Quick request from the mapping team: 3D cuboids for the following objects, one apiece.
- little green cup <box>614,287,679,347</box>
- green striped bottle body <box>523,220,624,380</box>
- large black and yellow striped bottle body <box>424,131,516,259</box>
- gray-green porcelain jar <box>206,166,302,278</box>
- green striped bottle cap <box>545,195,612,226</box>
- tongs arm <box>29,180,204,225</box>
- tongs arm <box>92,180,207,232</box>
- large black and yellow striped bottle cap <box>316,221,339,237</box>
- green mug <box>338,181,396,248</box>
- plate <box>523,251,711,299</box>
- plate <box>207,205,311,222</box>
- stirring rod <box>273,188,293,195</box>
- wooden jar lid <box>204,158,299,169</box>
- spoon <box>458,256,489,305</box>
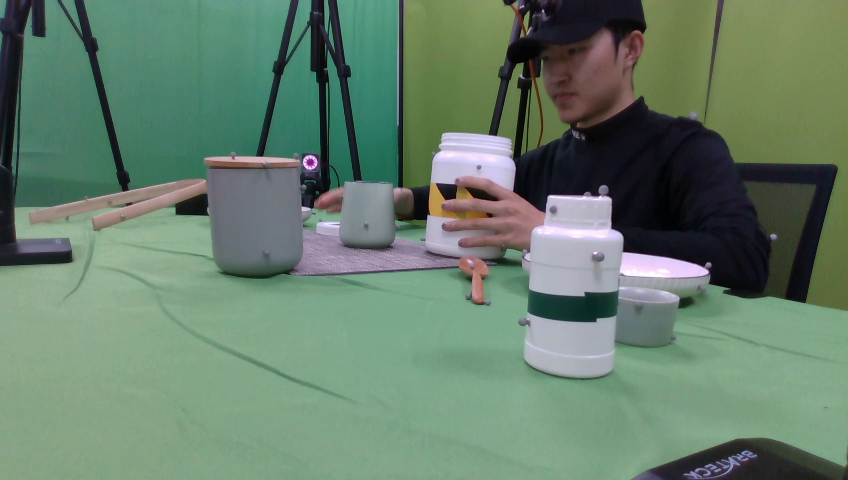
[{"bbox_3d":[0.180,0.064,0.506,0.061,0.038,0.061,1,8,0],"label":"little green cup"},{"bbox_3d":[0.104,0.031,0.422,0.063,0.119,0.063,2,8,0],"label":"green striped bottle body"},{"bbox_3d":[0.073,-0.069,0.931,0.131,0.184,0.130,5,6,0],"label":"large black and yellow striped bottle body"},{"bbox_3d":[-0.201,-0.024,0.725,0.106,0.126,0.106,-1,9,1],"label":"gray-green porcelain jar"},{"bbox_3d":[0.106,-0.020,0.415,0.044,0.020,0.044,2,5,0],"label":"green striped bottle cap"},{"bbox_3d":[-0.609,-0.083,1.245,0.050,0.026,0.386,5,16,23],"label":"tongs arm"},{"bbox_3d":[-0.534,-0.076,1.221,0.028,0.028,0.388,-2,15,12],"label":"tongs arm"},{"bbox_3d":[-0.147,-0.021,1.147,0.115,0.019,0.115,3,8,0],"label":"large black and yellow striped bottle cap"},{"bbox_3d":[-0.098,-0.045,0.995,0.093,0.105,0.125,-1,8,-21],"label":"green mug"},{"bbox_3d":[0.219,0.041,0.706,0.209,0.038,0.209,2,7,0],"label":"plate"},{"bbox_3d":[-0.342,-0.050,1.259,0.208,0.039,0.207,2,7,0],"label":"plate"},{"bbox_3d":[-0.353,-0.122,1.518,0.006,0.014,0.176,2,7,2],"label":"stirring rod"},{"bbox_3d":[-0.202,-0.086,0.714,0.108,0.020,0.108,3,11,0],"label":"wooden jar lid"},{"bbox_3d":[0.059,0.044,0.695,0.041,0.021,0.194,18,7,0],"label":"spoon"}]
